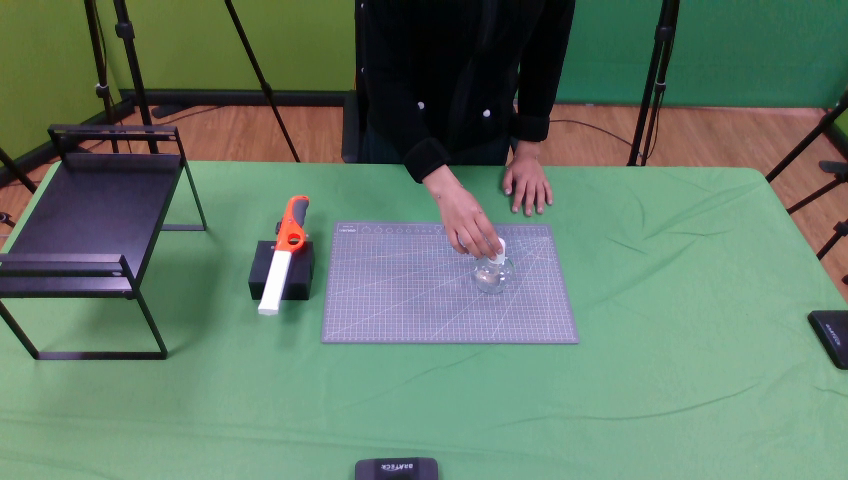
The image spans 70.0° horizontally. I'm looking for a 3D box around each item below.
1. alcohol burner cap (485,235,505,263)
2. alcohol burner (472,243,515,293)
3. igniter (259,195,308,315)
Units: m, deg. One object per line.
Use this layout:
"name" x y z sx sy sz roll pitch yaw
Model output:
"alcohol burner cap" 0.128 0.013 1.077 0.034 0.048 0.033 5 36 -4
"alcohol burner" 0.128 0.041 1.102 0.078 0.120 0.077 1 47 -1
"igniter" -0.252 0.016 1.094 0.057 0.025 0.275 6 48 -3
